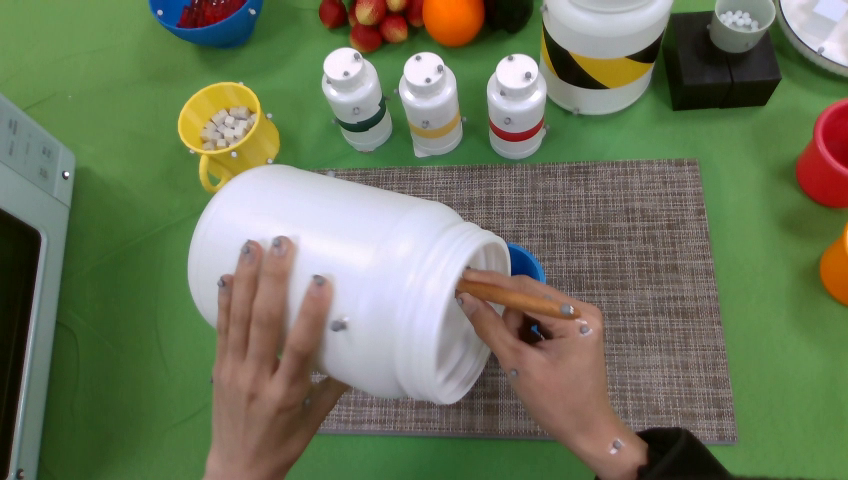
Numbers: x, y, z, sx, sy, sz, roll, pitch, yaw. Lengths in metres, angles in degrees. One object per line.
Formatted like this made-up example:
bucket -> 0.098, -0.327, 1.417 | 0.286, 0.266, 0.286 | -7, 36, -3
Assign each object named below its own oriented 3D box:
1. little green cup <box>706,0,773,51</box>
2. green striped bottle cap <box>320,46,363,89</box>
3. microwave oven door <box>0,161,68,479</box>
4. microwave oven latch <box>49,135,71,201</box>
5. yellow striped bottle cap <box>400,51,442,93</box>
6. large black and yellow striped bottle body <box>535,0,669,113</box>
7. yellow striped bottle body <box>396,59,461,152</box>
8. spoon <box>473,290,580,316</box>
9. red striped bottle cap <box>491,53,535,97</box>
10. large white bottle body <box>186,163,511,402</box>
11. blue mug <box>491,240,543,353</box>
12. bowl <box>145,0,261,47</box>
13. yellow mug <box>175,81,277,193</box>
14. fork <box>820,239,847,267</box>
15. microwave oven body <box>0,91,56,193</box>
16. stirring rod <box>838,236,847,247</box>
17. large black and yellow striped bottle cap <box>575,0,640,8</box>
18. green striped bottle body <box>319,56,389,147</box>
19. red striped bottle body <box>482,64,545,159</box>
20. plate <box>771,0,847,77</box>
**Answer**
little green cup -> 0.339, -0.238, 0.658 | 0.061, 0.039, 0.061 | -2, 65, 4
green striped bottle cap -> -0.089, -0.184, 0.647 | 0.044, 0.020, 0.044 | -2, 66, 5
microwave oven door -> -0.440, 0.074, 0.556 | 0.039, 0.246, 0.353 | -10, 66, 4
microwave oven latch -> -0.451, -0.086, 0.735 | 0.030, 0.030, 0.078 | -8, 67, 4
yellow striped bottle cap -> -0.003, -0.175, 0.631 | 0.044, 0.019, 0.044 | -1, 64, 2
large black and yellow striped bottle body -> 0.189, -0.240, 0.655 | 0.130, 0.185, 0.130 | -3, 67, 7
yellow striped bottle body -> 0.005, -0.155, 0.679 | 0.063, 0.121, 0.062 | -3, 66, 7
spoon -> 0.017, 0.030, 0.396 | 0.192, 0.042, 0.021 | 12, 74, 47
red striped bottle cap -> 0.091, -0.168, 0.615 | 0.044, 0.018, 0.044 | -1, 66, 3
large white bottle body -> -0.047, 0.026, 0.407 | 0.183, 0.132, 0.130 | 15, 70, 25
blue mug -> 0.057, 0.065, 0.583 | 0.116, 0.107, 0.081 | -30, 66, -5
bowl -> -0.278, -0.313, 0.806 | 0.151, 0.077, 0.150 | -3, 67, 6
yellow mug -> -0.241, -0.118, 0.726 | 0.099, 0.064, 0.130 | 9, 69, 11
fork -> 0.444, 0.034, 0.524 | 0.028, 0.019, 0.205 | -27, 22, -12
microwave oven body -> -0.588, 0.061, 0.587 | 0.326, 0.262, 0.438 | -9, 67, 3
stirring rod -> 0.417, 0.033, 0.536 | 0.014, 0.006, 0.175 | 1, 24, 6
large black and yellow striped bottle cap -> 0.178, -0.272, 0.576 | 0.115, 0.019, 0.114 | -4, 68, 10
green striped bottle body -> -0.080, -0.164, 0.694 | 0.063, 0.120, 0.062 | -3, 67, 6
red striped bottle body -> 0.099, -0.146, 0.664 | 0.063, 0.121, 0.062 | -6, 63, 11
plate -> 0.511, -0.268, 0.703 | 0.209, 0.038, 0.207 | -3, 68, 7
